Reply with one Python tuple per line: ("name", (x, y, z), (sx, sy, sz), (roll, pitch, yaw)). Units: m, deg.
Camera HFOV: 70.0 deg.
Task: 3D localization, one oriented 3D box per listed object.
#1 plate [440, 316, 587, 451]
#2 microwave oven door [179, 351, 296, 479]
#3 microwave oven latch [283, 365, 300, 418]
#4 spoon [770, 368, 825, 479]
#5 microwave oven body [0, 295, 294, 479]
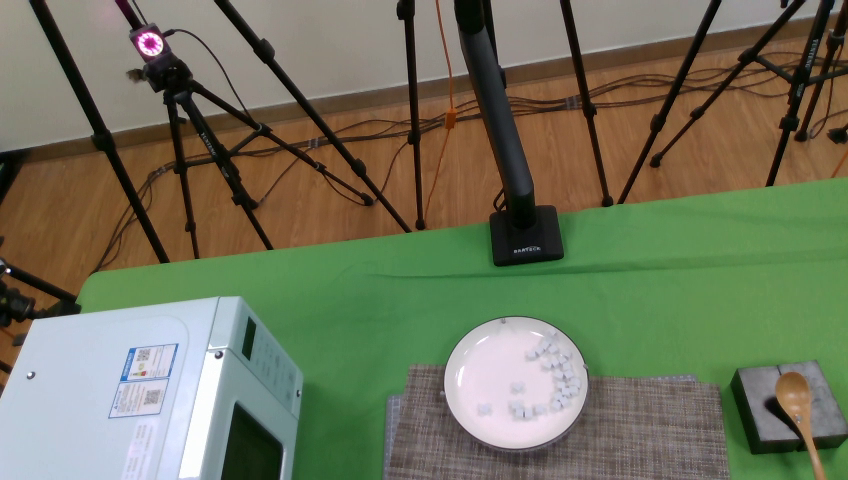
("plate", (0.129, 0.208, 0.881), (0.209, 0.038, 0.207), (-7, 51, 9))
("microwave oven door", (-0.226, 0.343, 0.714), (0.039, 0.246, 0.352), (-8, 52, 8))
("microwave oven latch", (-0.208, 0.232, 0.926), (0.030, 0.030, 0.078), (-8, 53, 7))
("spoon", (0.466, 0.253, 0.735), (0.041, 0.022, 0.192), (-11, 74, 3))
("microwave oven body", (-0.369, 0.333, 0.763), (0.326, 0.263, 0.437), (-8, 53, 7))
